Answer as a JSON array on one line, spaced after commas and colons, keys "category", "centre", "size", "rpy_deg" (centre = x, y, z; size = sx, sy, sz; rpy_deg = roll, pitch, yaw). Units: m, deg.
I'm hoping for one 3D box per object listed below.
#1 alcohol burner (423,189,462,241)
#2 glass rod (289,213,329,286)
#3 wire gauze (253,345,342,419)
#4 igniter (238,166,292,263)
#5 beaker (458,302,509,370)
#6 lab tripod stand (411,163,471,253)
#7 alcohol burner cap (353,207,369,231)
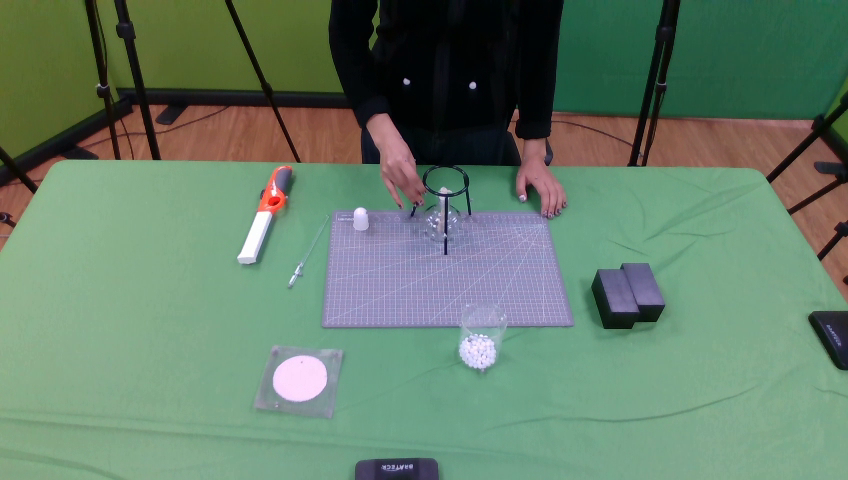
[{"category": "alcohol burner", "centre": [0.036, -0.055, 1.187], "size": [0.078, 0.120, 0.077], "rpy_deg": [1, 48, -1]}, {"category": "glass rod", "centre": [-0.221, 0.014, 1.179], "size": [0.008, 0.008, 0.199], "rpy_deg": [12, 46, 9]}, {"category": "wire gauze", "centre": [-0.200, 0.224, 0.979], "size": [0.125, 0.011, 0.121], "rpy_deg": [7, 47, 0]}, {"category": "igniter", "centre": [-0.319, -0.060, 1.229], "size": [0.057, 0.025, 0.275], "rpy_deg": [-2, 45, 10]}, {"category": "beaker", "centre": [0.092, 0.159, 0.999], "size": [0.083, 0.101, 0.074], "rpy_deg": [35, 53, 28]}, {"category": "lab tripod stand", "centre": [0.041, -0.070, 1.186], "size": [0.148, 0.132, 0.147], "rpy_deg": [3, 48, -3]}, {"category": "alcohol burner cap", "centre": [-0.127, -0.046, 1.215], "size": [0.034, 0.048, 0.033], "rpy_deg": [2, 47, -2]}]
